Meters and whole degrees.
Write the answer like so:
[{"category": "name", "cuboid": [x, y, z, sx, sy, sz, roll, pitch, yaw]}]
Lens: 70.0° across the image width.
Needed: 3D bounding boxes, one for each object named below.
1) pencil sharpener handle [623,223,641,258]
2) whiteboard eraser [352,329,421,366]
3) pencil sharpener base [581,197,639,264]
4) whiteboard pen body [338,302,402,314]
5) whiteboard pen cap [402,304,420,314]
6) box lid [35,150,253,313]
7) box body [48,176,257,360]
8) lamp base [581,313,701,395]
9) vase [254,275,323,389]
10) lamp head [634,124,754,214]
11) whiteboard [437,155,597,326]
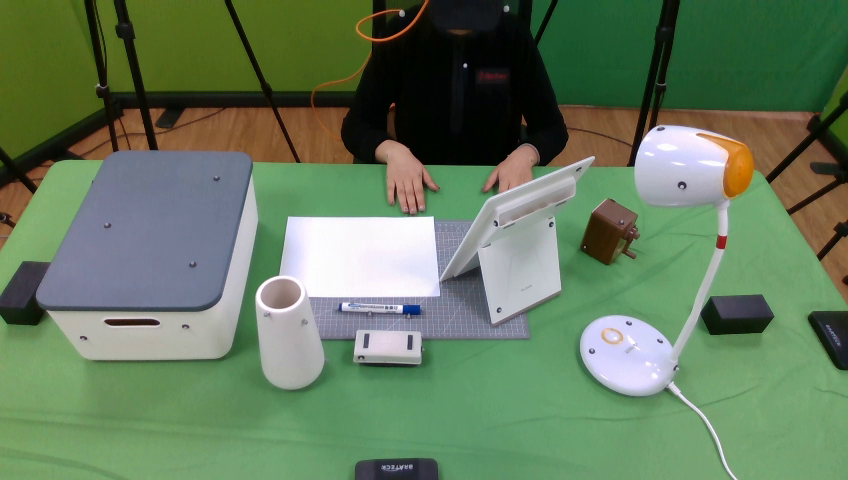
[{"category": "pencil sharpener handle", "cuboid": [0.399, 0.002, 1.146, 0.030, 0.068, 0.036, 35, 45, 26]}, {"category": "whiteboard eraser", "cuboid": [-0.061, 0.180, 1.005, 0.113, 0.042, 0.055, 3, 48, -3]}, {"category": "pencil sharpener base", "cuboid": [0.362, -0.016, 1.178, 0.076, 0.107, 0.061, 35, 53, 26]}, {"category": "whiteboard pen body", "cuboid": [-0.083, 0.121, 1.074, 0.141, 0.017, 0.017, 3, 46, -2]}, {"category": "whiteboard pen cap", "cuboid": [-0.024, 0.123, 1.076, 0.033, 0.018, 0.018, 1, 46, 1]}, {"category": "box lid", "cuboid": [-0.436, -0.032, 0.994, 0.263, 0.015, 0.369, 0, 46, -5]}, {"category": "box body", "cuboid": [-0.441, 0.022, 1.046, 0.254, 0.161, 0.361, 0, 46, -5]}, {"category": "lamp base", "cuboid": [0.361, 0.144, 0.973, 0.178, 0.181, 0.160, 34, 53, 23]}, {"category": "vase", "cuboid": [-0.209, 0.142, 0.921, 0.098, 0.201, 0.097, 1, 46, -1]}, {"category": "lamp head", "cuboid": [0.351, -0.089, 0.776, 0.112, 0.113, 0.122, -30, 30, -28]}, {"category": "whiteboard", "cuboid": [0.180, 0.023, 1.029, 0.217, 0.306, 0.143, -21, 70, -23]}]
